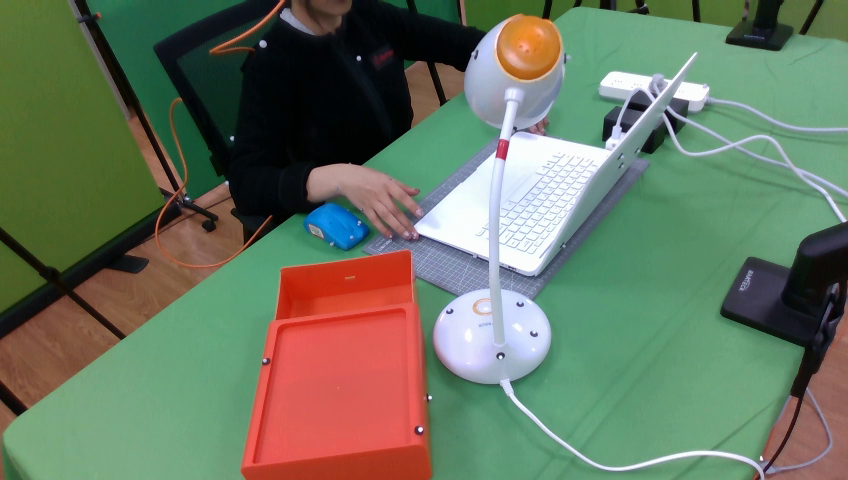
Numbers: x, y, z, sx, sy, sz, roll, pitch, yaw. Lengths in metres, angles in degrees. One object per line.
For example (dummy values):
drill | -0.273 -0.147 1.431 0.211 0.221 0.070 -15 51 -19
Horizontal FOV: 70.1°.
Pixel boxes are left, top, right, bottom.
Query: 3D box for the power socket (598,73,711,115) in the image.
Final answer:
power socket | 0.470 -0.304 1.248 0.225 0.033 0.072 20 49 30

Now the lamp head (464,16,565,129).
lamp head | 0.101 -0.184 0.655 0.112 0.112 0.123 -9 1 0

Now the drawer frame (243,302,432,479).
drawer frame | -0.096 0.185 0.738 0.202 0.083 0.212 -8 40 1

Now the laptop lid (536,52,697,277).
laptop lid | 0.287 -0.112 0.894 0.013 0.242 0.357 35 53 16

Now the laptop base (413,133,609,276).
laptop base | 0.176 -0.077 1.048 0.233 0.023 0.355 19 47 34

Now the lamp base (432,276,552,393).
lamp base | 0.085 0.075 0.756 0.161 0.181 0.178 -14 44 -6

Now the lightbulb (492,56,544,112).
lightbulb | 0.109 -0.180 0.679 0.059 0.059 0.107 -10 -2 0

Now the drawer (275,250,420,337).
drawer | -0.104 0.117 0.825 0.194 0.073 0.210 -8 40 1

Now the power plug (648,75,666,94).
power plug | 0.457 -0.301 1.212 0.073 0.053 0.035 -36 46 -28

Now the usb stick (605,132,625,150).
usb stick | 0.349 -0.174 1.110 0.021 0.027 0.059 20 48 31

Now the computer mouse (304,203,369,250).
computer mouse | -0.151 -0.026 1.037 0.116 0.041 0.063 28 51 32
